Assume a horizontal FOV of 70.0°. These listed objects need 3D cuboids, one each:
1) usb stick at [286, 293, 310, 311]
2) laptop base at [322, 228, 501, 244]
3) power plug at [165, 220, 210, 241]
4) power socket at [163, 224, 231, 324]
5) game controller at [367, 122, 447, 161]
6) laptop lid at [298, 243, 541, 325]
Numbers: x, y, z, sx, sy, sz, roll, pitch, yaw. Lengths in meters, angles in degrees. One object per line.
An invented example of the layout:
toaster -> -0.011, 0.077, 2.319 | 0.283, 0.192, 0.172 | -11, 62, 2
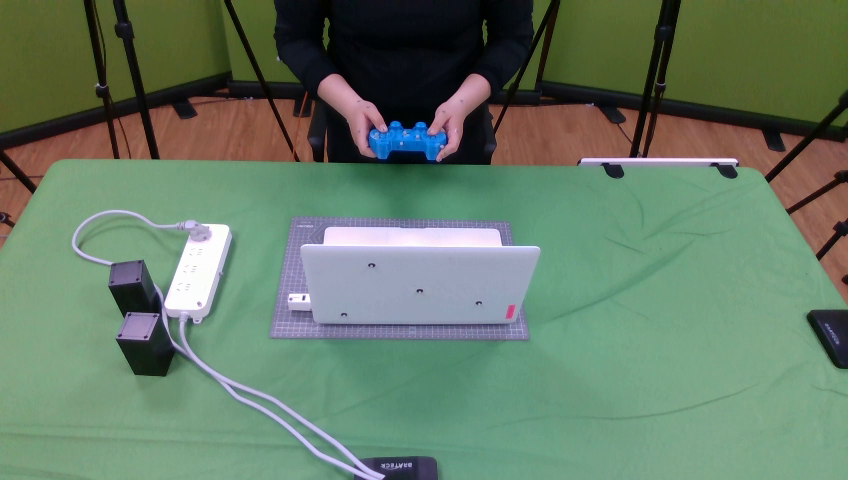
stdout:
usb stick -> -0.210, 0.109, 1.059 | 0.059, 0.027, 0.021 | 4, 44, -6
laptop base -> -0.020, 0.063, 1.136 | 0.355, 0.023, 0.234 | 0, 43, -4
power plug -> -0.440, -0.016, 1.143 | 0.072, 0.053, 0.035 | 7, 46, 8
power socket -> -0.411, 0.052, 1.107 | 0.072, 0.033, 0.225 | 3, 46, -3
game controller -> -0.033, -0.192, 1.146 | 0.155, 0.052, 0.096 | 1, 38, -2
laptop lid -> -0.010, 0.076, 0.958 | 0.357, 0.243, 0.013 | 1, 53, -5
